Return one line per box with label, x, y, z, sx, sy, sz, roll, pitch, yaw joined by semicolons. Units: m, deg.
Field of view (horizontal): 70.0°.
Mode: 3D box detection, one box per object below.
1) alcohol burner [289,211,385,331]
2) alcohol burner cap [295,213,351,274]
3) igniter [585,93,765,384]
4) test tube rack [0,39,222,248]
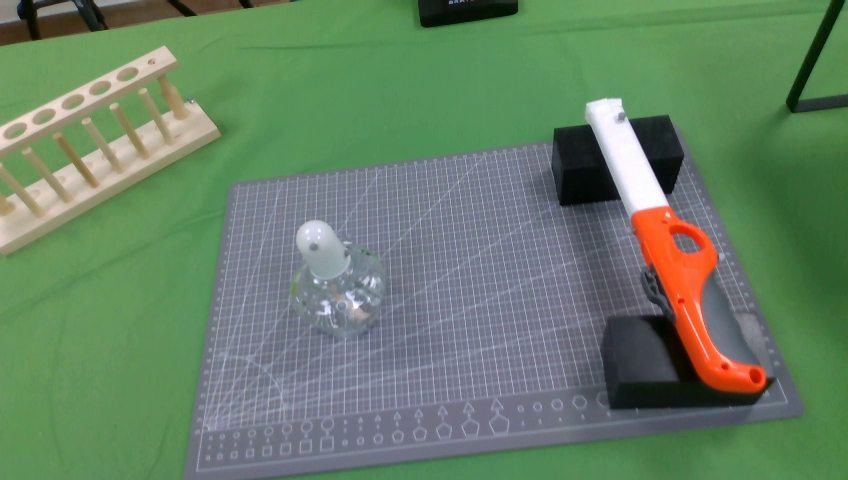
alcohol burner;-0.072;0.020;0.471;0.078;0.120;0.077;-4;52;6
alcohol burner cap;-0.075;0.000;0.443;0.034;0.048;0.033;-6;57;9
igniter;0.176;-0.017;0.456;0.057;0.025;0.273;-11;52;2
test tube rack;-0.342;-0.100;0.615;0.242;0.086;0.066;-34;57;-16
